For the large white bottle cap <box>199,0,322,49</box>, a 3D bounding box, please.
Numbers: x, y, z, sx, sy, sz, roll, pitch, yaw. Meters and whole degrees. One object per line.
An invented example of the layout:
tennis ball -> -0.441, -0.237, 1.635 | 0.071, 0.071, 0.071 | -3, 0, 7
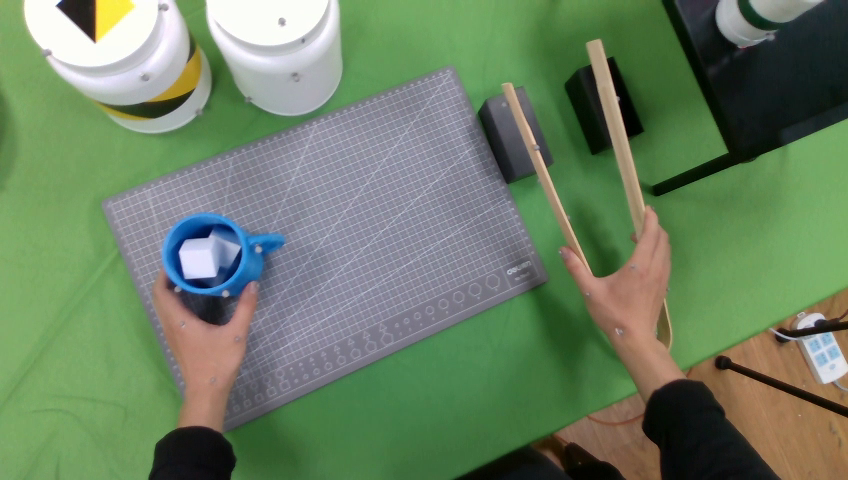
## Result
large white bottle cap -> -0.154, -0.237, 0.569 | 0.115, 0.018, 0.114 | 1, 84, -8

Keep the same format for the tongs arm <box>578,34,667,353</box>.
tongs arm -> 0.233, -0.043, 0.706 | 0.028, 0.027, 0.389 | -24, 106, -16

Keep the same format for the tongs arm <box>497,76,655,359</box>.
tongs arm -> 0.181, -0.016, 0.696 | 0.051, 0.026, 0.387 | -29, 107, -11

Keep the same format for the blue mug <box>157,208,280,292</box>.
blue mug -> -0.215, 0.010, 0.660 | 0.117, 0.106, 0.082 | -16, 86, -9

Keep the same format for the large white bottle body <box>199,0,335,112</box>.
large white bottle body -> -0.163, -0.227, 0.651 | 0.131, 0.184, 0.130 | 1, 84, -7

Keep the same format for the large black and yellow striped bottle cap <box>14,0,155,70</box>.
large black and yellow striped bottle cap -> -0.306, -0.212, 0.548 | 0.115, 0.019, 0.114 | 1, 85, -9

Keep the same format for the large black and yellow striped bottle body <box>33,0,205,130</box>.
large black and yellow striped bottle body -> -0.315, -0.201, 0.630 | 0.131, 0.184, 0.130 | 1, 84, -7

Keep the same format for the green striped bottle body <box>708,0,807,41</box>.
green striped bottle body -> 0.328, -0.241, 0.568 | 0.063, 0.119, 0.063 | 1, 84, -7
